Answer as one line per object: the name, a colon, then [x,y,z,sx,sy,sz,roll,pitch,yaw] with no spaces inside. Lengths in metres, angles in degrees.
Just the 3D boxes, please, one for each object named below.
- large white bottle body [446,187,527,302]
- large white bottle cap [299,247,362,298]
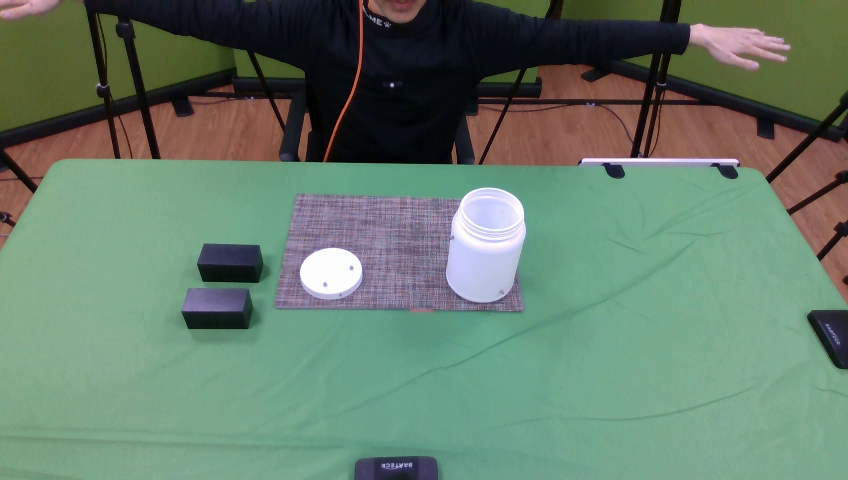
large white bottle body: [0.110,0.008,1.079,0.131,0.185,0.130,2,47,-2]
large white bottle cap: [-0.174,0.059,1.124,0.115,0.018,0.114,2,46,-2]
